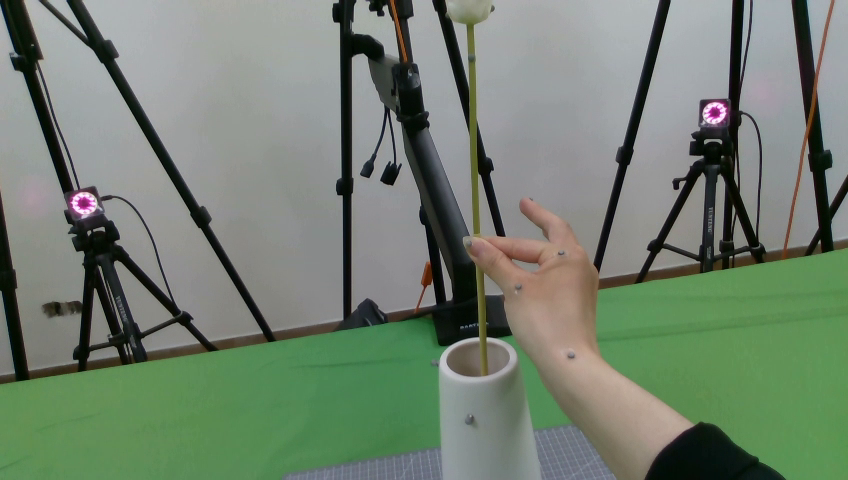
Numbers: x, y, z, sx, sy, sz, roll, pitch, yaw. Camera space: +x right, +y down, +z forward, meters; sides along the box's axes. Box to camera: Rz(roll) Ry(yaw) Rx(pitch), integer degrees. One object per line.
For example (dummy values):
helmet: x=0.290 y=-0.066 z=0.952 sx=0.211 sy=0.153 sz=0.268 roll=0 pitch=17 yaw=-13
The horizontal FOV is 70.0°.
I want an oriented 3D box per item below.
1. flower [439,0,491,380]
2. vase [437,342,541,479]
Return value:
flower: x=0.041 y=-0.039 z=0.476 sx=0.038 sy=0.362 sz=0.044 roll=-8 pitch=11 yaw=-15
vase: x=0.059 y=0.196 z=0.561 sx=0.098 sy=0.201 sz=0.097 roll=-7 pitch=21 yaw=3
